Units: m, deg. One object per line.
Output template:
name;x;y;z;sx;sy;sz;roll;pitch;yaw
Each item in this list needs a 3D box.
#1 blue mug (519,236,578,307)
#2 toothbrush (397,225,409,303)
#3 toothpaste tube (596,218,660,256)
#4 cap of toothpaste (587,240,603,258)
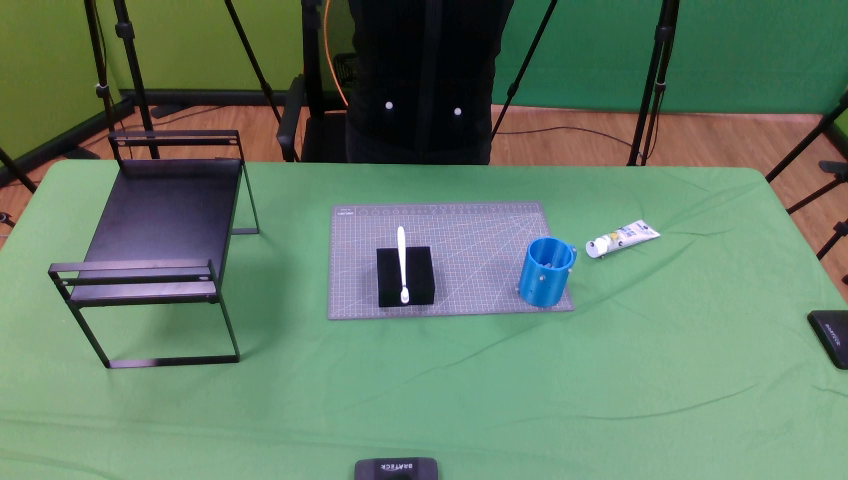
blue mug;0.234;0.052;1.102;0.116;0.106;0.082;-23;52;-24
toothbrush;-0.038;0.038;1.090;0.014;0.017;0.180;-6;46;0
toothpaste tube;0.405;-0.005;1.226;0.165;0.034;0.054;-20;55;-26
cap of toothpaste;0.337;0.017;1.193;0.011;0.037;0.037;-20;51;-26
